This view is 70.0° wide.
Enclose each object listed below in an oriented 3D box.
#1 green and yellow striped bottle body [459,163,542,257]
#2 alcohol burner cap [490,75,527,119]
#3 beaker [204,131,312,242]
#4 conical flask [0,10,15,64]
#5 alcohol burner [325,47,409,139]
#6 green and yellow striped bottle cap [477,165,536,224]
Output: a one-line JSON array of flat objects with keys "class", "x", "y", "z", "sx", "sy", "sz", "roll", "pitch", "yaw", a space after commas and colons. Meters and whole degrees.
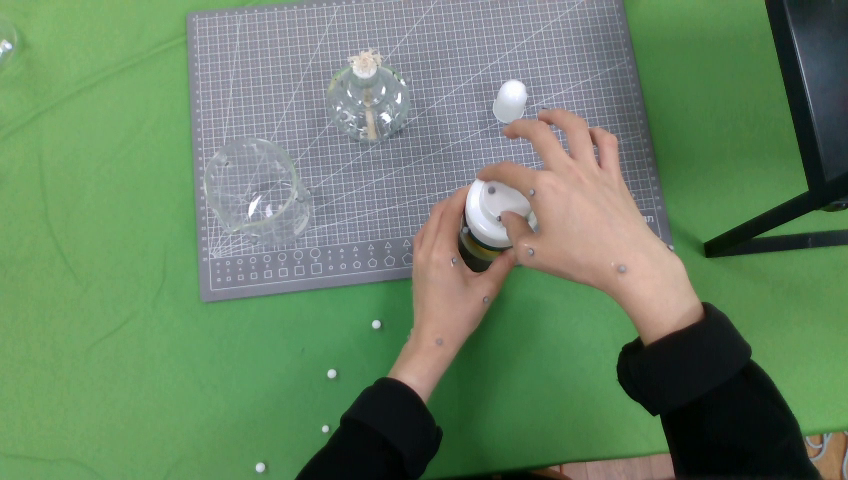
[{"class": "green and yellow striped bottle body", "x": 0.065, "y": -0.026, "z": 0.526, "sx": 0.063, "sy": 0.120, "sz": 0.063, "roll": 0, "pitch": 78, "yaw": -1}, {"class": "alcohol burner cap", "x": 0.084, "y": -0.142, "z": 0.590, "sx": 0.034, "sy": 0.048, "sz": 0.033, "roll": 0, "pitch": 78, "yaw": -2}, {"class": "beaker", "x": -0.142, "y": -0.038, "z": 0.534, "sx": 0.074, "sy": 0.100, "sz": 0.083, "roll": 22, "pitch": 79, "yaw": 4}, {"class": "conical flask", "x": -0.446, "y": -0.212, "z": 0.551, "sx": 0.075, "sy": 0.122, "sz": 0.075, "roll": 0, "pitch": 78, "yaw": -1}, {"class": "alcohol burner", "x": -0.053, "y": -0.139, "z": 0.549, "sx": 0.078, "sy": 0.119, "sz": 0.077, "roll": 1, "pitch": 77, "yaw": -3}, {"class": "green and yellow striped bottle cap", "x": 0.065, "y": -0.036, "z": 0.475, "sx": 0.045, "sy": 0.020, "sz": 0.045, "roll": 1, "pitch": 77, "yaw": -3}]
